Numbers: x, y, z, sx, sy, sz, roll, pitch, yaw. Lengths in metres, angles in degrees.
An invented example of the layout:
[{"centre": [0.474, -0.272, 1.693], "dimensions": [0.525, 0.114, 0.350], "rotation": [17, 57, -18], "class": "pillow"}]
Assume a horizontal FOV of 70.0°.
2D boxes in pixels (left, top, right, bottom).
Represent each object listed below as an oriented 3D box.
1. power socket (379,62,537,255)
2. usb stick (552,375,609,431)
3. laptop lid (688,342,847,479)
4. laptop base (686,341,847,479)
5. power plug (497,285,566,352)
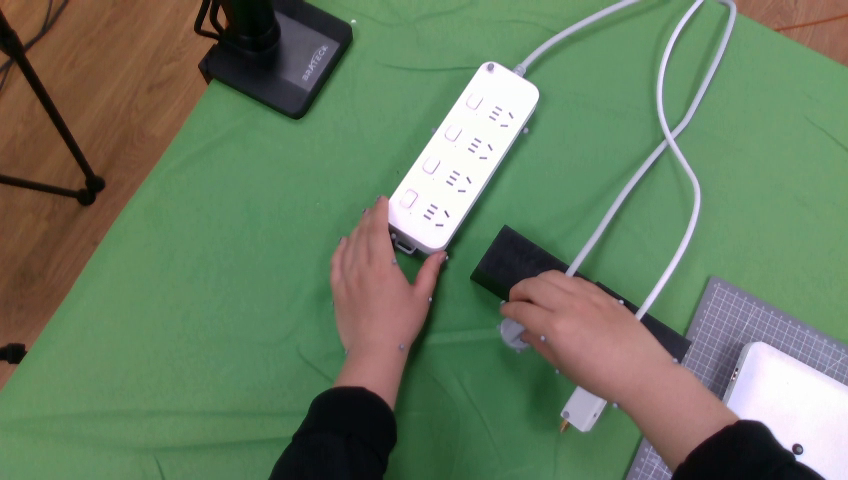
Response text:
[{"centre": [0.036, -0.085, 0.614], "dimensions": [0.072, 0.033, 0.226], "rotation": [33, 76, 3], "class": "power socket"}, {"centre": [0.139, 0.153, 0.548], "dimensions": [0.027, 0.022, 0.059], "rotation": [39, 102, 33], "class": "usb stick"}, {"centre": [0.411, 0.276, 0.552], "dimensions": [0.356, 0.013, 0.241], "rotation": [30, 78, 3], "class": "laptop lid"}, {"centre": [0.412, 0.277, 0.564], "dimensions": [0.354, 0.023, 0.235], "rotation": [28, 79, 3], "class": "laptop base"}, {"centre": [0.102, 0.077, 0.556], "dimensions": [0.072, 0.053, 0.035], "rotation": [-22, 67, -6], "class": "power plug"}]
